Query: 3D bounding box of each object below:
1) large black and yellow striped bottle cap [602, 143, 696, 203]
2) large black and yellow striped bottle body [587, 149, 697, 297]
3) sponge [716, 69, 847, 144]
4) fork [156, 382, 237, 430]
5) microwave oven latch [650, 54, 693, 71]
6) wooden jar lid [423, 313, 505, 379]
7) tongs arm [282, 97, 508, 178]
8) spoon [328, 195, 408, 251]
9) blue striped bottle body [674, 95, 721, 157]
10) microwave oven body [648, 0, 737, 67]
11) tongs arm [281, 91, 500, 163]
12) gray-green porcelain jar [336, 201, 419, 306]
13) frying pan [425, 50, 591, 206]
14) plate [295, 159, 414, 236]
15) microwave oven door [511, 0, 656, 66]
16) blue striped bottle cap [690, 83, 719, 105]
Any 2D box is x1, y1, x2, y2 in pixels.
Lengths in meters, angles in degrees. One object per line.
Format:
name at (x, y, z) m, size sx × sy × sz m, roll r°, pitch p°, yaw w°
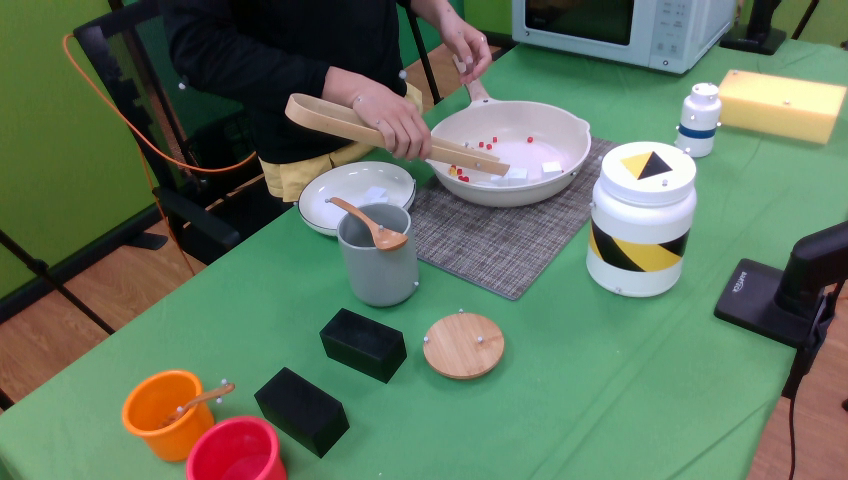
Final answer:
large black and yellow striped bottle cap at (0.289, -0.088, 0.779) m, size 0.115 × 0.019 × 0.114 m, roll -5°, pitch 39°, yaw 4°
large black and yellow striped bottle body at (0.298, -0.026, 0.835) m, size 0.131 × 0.185 × 0.130 m, roll -4°, pitch 41°, yaw 4°
sponge at (0.663, -0.256, 1.142) m, size 0.205 × 0.061 × 0.118 m, roll 19°, pitch 47°, yaw 28°
fork at (-0.262, 0.189, 0.690) m, size 0.018 × 0.206 × 0.028 m, roll 49°, pitch 43°, yaw -7°
microwave oven latch at (0.531, -0.386, 1.301) m, size 0.078 × 0.029 × 0.030 m, roll 26°, pitch 51°, yaw 33°
wooden jar lid at (0.053, 0.142, 0.800) m, size 0.108 × 0.021 × 0.108 m, roll -5°, pitch 39°, yaw 4°
tongs arm at (-0.027, -0.149, 0.936) m, size 0.391 × 0.028 × 0.028 m, roll 11°, pitch 38°, yaw -30°
spoon at (-0.083, -0.029, 0.829) m, size 0.042 × 0.022 × 0.192 m, roll -32°, pitch 42°, yaw -22°
blue striped bottle body at (0.486, -0.213, 1.071) m, size 0.063 × 0.121 × 0.063 m, roll -4°, pitch 41°, yaw 4°
microwave oven body at (0.475, -0.602, 1.411) m, size 0.438 × 0.261 × 0.327 m, roll 23°, pitch 50°, yaw 32°
tongs arm at (-0.034, -0.164, 0.953) m, size 0.388 × 0.026 × 0.050 m, roll 14°, pitch 33°, yaw -27°
gray-green porcelain jar at (-0.064, 0.024, 0.872) m, size 0.106 × 0.127 × 0.105 m, roll -4°, pitch 41°, yaw 4°
frying pan at (0.127, -0.233, 1.155) m, size 0.307 × 0.103 × 0.484 m, roll -10°, pitch 49°, yaw -5°
plate at (-0.118, -0.070, 1.055) m, size 0.207 × 0.039 × 0.206 m, roll -5°, pitch 40°, yaw 5°
microwave oven door at (0.350, -0.539, 1.349) m, size 0.353 × 0.245 × 0.039 m, roll 24°, pitch 50°, yaw 31°
blue striped bottle cap at (0.481, -0.251, 1.038) m, size 0.044 × 0.021 × 0.044 m, roll -5°, pitch 40°, yaw 5°
